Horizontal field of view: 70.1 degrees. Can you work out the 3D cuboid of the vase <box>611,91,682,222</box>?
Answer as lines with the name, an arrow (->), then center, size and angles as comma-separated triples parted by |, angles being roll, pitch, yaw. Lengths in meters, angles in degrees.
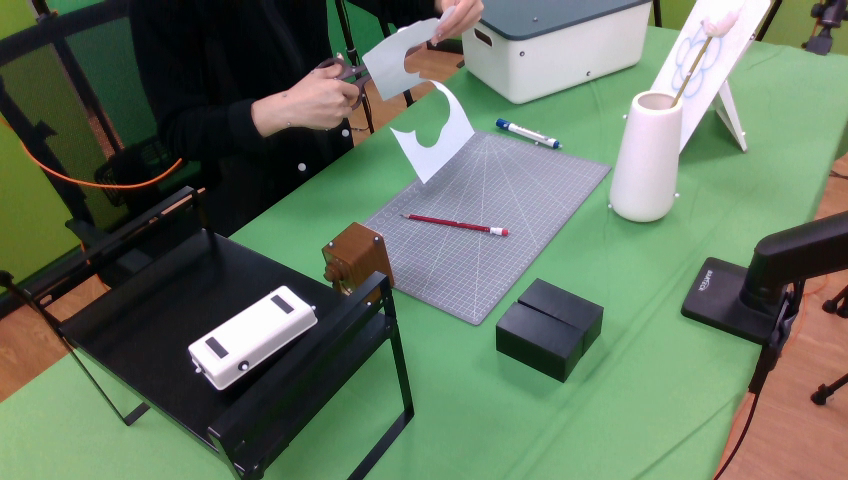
vase -> 0.348, -0.125, 0.935 | 0.098, 0.201, 0.097 | -3, 40, 3

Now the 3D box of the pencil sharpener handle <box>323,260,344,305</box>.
pencil sharpener handle -> -0.131, 0.062, 0.839 | 0.035, 0.068, 0.031 | 29, 56, 28

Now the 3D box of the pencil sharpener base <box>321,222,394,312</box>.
pencil sharpener base -> -0.096, 0.041, 0.873 | 0.061, 0.107, 0.077 | 26, 54, 32

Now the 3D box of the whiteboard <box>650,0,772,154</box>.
whiteboard -> 0.543, -0.298, 1.076 | 0.144, 0.305, 0.216 | 12, 40, -7

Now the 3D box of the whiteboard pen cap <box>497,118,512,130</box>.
whiteboard pen cap -> 0.165, -0.235, 1.227 | 0.033, 0.018, 0.018 | 31, 53, 31

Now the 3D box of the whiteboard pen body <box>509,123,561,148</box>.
whiteboard pen body -> 0.209, -0.211, 1.196 | 0.139, 0.017, 0.017 | 30, 52, 33

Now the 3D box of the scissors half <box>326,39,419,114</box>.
scissors half -> -0.078, -0.251, 0.928 | 0.175, 0.040, 0.012 | -38, 19, 11

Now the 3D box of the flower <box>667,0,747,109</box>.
flower -> 0.354, -0.187, 0.879 | 0.038, 0.362, 0.044 | 30, 48, 14

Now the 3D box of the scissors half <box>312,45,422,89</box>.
scissors half -> -0.088, -0.269, 0.920 | 0.175, 0.040, 0.013 | -15, 27, 1

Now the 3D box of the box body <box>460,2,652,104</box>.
box body -> 0.291, -0.465, 1.371 | 0.365, 0.161, 0.252 | -22, 42, -16

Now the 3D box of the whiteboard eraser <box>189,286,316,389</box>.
whiteboard eraser -> -0.166, 0.096, 0.593 | 0.113, 0.042, 0.055 | -36, 47, -29

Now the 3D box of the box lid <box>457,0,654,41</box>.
box lid -> 0.285, -0.522, 1.323 | 0.373, 0.015, 0.261 | -22, 43, -16

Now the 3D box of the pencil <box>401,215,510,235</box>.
pencil -> 0.049, -0.027, 1.007 | 0.193, 0.012, 0.012 | 10, 43, 21
